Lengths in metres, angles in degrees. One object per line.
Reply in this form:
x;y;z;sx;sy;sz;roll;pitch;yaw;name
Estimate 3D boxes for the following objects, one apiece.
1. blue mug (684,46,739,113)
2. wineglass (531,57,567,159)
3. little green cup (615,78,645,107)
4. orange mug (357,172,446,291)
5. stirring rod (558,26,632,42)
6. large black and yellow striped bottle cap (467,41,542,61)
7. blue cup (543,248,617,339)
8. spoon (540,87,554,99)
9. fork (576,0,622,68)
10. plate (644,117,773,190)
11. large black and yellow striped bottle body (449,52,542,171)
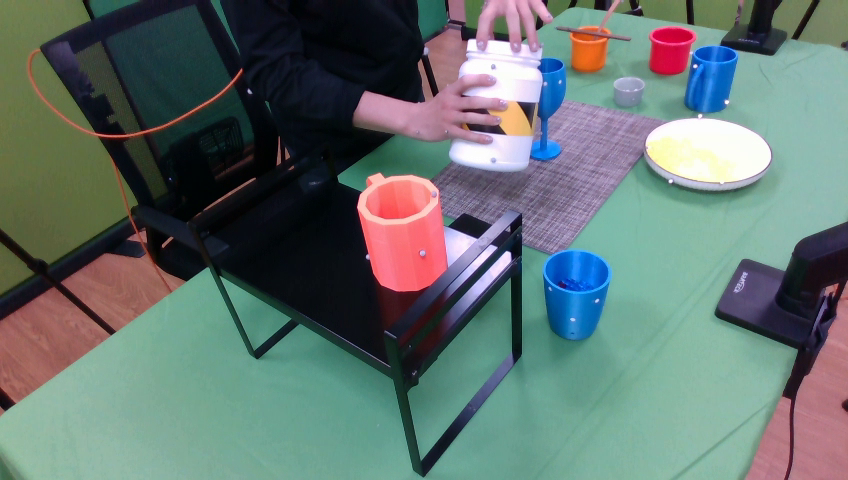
0.556;-0.310;1.190;0.117;0.106;0.081;-32;46;-25;blue mug
0.221;-0.237;1.097;0.074;0.173;0.073;-5;41;4;wineglass
0.426;-0.306;1.257;0.061;0.039;0.061;-4;40;4;little green cup
-0.030;-0.019;0.668;0.084;0.101;0.125;-23;47;-16;orange mug
0.381;-0.463;1.356;0.175;0.006;0.014;22;48;30;stirring rod
0.124;-0.290;0.929;0.115;0.019;0.115;7;15;-1;large black and yellow striped bottle cap
0.199;0.076;0.797;0.092;0.100;0.092;-4;39;4;blue cup
0.227;-0.285;1.269;0.041;0.022;0.194;2;36;45;spoon
0.409;-0.484;1.381;0.028;0.019;0.207;37;101;45;fork
0.495;-0.149;1.063;0.209;0.038;0.208;-5;40;4;plate
0.114;-0.210;0.952;0.131;0.184;0.130;6;16;-1;large black and yellow striped bottle body
